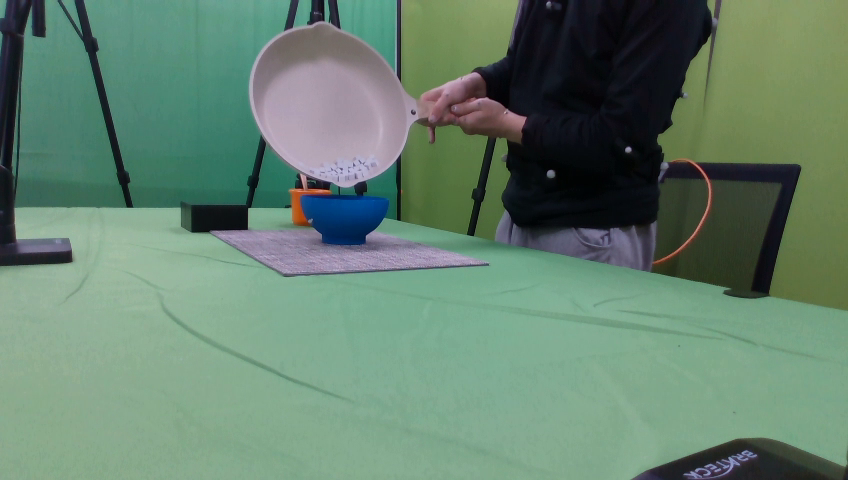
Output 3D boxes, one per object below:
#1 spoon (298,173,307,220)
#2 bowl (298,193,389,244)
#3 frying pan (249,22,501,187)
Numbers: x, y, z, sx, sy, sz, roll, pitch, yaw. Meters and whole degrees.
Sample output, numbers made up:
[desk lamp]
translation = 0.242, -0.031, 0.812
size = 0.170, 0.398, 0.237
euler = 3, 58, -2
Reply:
[spoon]
translation = -0.264, -0.114, 1.338
size = 0.042, 0.193, 0.021
euler = 0, -37, -21
[bowl]
translation = -0.136, -0.037, 1.018
size = 0.151, 0.077, 0.151
euler = 2, 7, 0
[frying pan]
translation = -0.074, -0.243, 1.123
size = 0.490, 0.306, 0.102
euler = -4, -9, -21
